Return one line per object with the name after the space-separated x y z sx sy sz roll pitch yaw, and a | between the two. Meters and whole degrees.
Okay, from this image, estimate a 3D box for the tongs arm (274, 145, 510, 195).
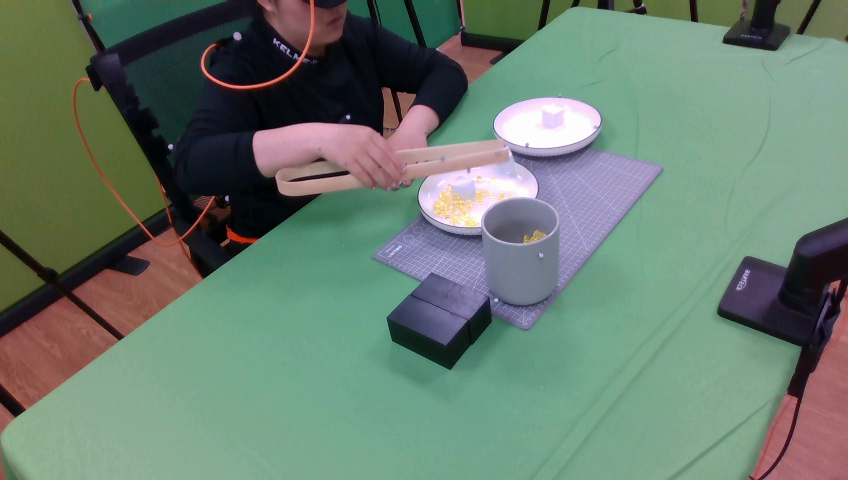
-0.047 -0.120 0.988 0.386 0.026 0.050 -12 40 -12 | tongs arm

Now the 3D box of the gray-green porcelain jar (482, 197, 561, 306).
0.138 0.020 0.846 0.106 0.127 0.105 -5 40 5 | gray-green porcelain jar

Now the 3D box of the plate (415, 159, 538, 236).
0.090 -0.072 1.034 0.207 0.039 0.206 -5 40 5 | plate

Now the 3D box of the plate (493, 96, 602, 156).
0.238 -0.218 1.179 0.209 0.038 0.208 -5 39 4 | plate

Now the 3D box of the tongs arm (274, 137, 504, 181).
-0.052 -0.134 1.006 0.389 0.028 0.028 -9 43 -9 | tongs arm
